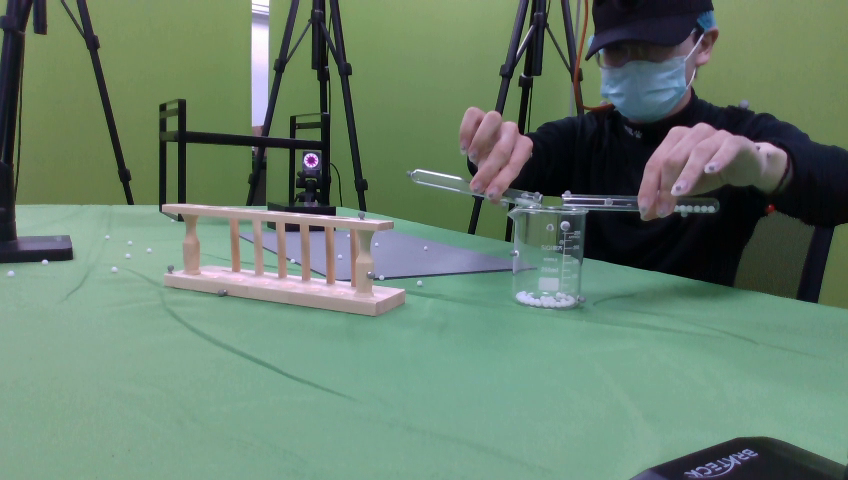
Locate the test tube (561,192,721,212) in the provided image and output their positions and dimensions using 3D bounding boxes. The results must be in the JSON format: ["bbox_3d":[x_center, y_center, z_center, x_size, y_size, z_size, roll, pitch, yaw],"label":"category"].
[{"bbox_3d":[0.212,-0.038,0.594,0.150,0.017,0.017,2,7,10],"label":"test tube"}]

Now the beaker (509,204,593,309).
[{"bbox_3d":[0.126,0.015,0.613,0.084,0.100,0.074,1,7,-5],"label":"beaker"}]

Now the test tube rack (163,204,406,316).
[{"bbox_3d":[-0.141,0.013,0.601,0.241,0.085,0.067,5,8,21],"label":"test tube rack"}]

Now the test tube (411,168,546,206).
[{"bbox_3d":[0.055,-0.057,0.647,0.150,0.017,0.017,13,11,19],"label":"test tube"}]
